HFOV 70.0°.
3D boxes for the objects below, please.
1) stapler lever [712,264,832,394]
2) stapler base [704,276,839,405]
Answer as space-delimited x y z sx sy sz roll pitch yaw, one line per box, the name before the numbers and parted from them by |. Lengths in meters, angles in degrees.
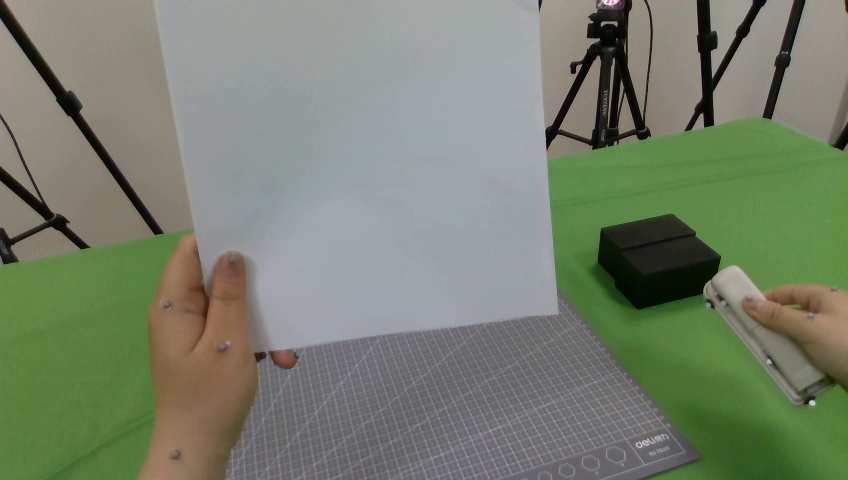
stapler lever | 0.288 0.070 0.508 0.027 0.040 0.117 -37 57 14
stapler base | 0.298 0.078 0.529 0.041 0.025 0.129 -37 59 14
